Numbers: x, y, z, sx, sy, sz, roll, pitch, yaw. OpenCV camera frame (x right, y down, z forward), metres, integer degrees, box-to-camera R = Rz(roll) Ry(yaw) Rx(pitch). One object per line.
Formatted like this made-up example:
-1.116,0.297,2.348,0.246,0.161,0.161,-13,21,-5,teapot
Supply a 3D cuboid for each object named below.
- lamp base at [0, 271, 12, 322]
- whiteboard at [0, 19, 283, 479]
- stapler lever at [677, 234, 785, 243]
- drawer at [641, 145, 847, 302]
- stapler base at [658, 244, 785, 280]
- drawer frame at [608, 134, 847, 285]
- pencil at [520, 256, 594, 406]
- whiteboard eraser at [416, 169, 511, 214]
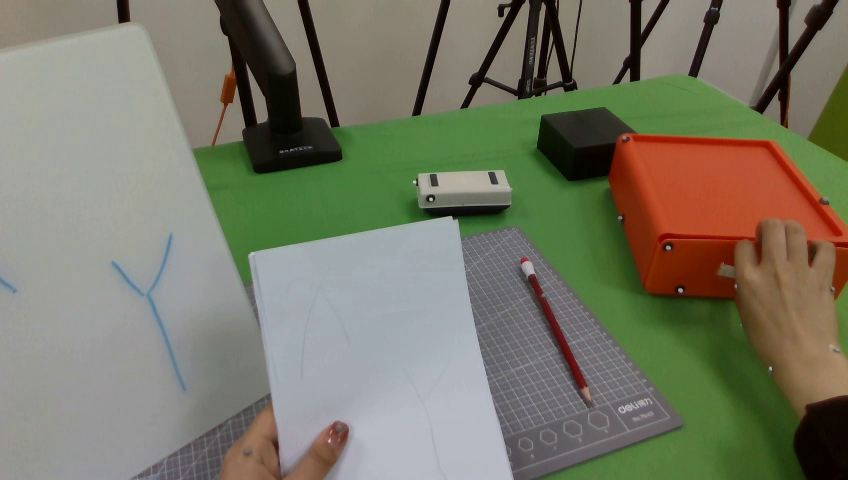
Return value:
-0.483,0.008,0.515,0.178,0.182,0.160,12,38,17,lamp base
-0.274,0.022,0.450,0.217,0.307,0.142,-29,27,-32,whiteboard
0.322,0.002,0.627,0.118,0.040,0.026,2,51,-1,stapler lever
0.330,-0.028,0.678,0.194,0.074,0.210,2,37,3,drawer
0.320,0.019,0.647,0.130,0.024,0.041,2,52,-1,stapler base
0.331,-0.035,0.686,0.202,0.083,0.211,2,37,1,drawer frame
0.125,0.080,0.582,0.012,0.012,0.192,-6,40,-9,pencil
0.047,-0.059,0.740,0.113,0.042,0.055,-2,39,-5,whiteboard eraser
